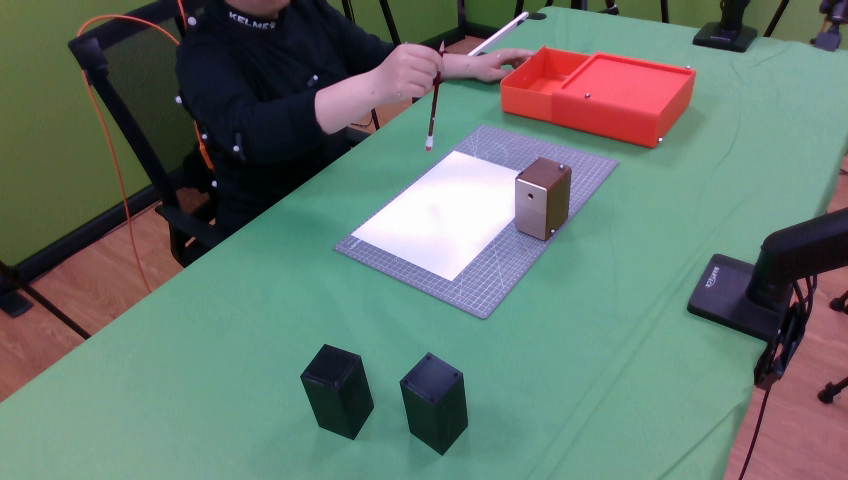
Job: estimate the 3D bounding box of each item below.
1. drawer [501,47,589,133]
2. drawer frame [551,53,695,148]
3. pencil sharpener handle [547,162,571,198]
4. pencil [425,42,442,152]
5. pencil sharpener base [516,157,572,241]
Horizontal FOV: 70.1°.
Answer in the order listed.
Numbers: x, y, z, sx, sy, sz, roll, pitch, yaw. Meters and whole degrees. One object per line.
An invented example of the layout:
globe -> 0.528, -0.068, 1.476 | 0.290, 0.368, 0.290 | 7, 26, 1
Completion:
drawer -> 0.296, -0.315, 1.256 | 0.210, 0.073, 0.195 | 22, 48, 29
drawer frame -> 0.391, -0.281, 1.196 | 0.212, 0.083, 0.202 | 22, 48, 29
pencil sharpener handle -> 0.221, -0.101, 0.968 | 0.035, 0.068, 0.031 | 20, 47, 37
pencil -> 0.016, -0.230, 0.989 | 0.012, 0.194, 0.012 | 5, 39, -3
pencil sharpener base -> 0.189, -0.065, 0.948 | 0.061, 0.107, 0.077 | 24, 49, 33
